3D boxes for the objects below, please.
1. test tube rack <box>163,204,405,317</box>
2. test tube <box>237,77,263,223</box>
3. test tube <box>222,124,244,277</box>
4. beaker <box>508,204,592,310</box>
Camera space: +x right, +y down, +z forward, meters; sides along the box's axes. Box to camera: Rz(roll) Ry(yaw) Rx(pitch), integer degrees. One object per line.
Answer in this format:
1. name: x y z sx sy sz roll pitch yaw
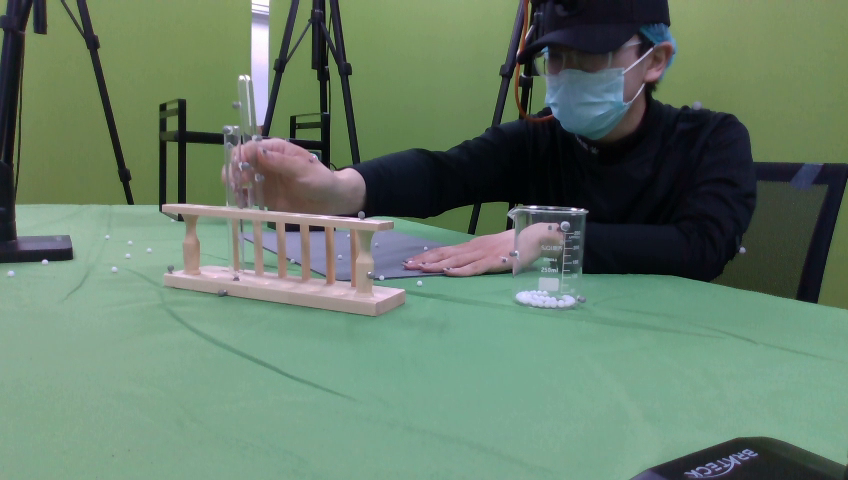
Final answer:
1. test tube rack: -0.141 0.013 0.600 0.241 0.085 0.067 5 8 21
2. test tube: -0.179 -0.093 0.625 0.017 0.150 0.017 -4 2 0
3. test tube: -0.186 -0.037 0.591 0.017 0.150 0.017 1 11 0
4. beaker: 0.125 0.016 0.613 0.084 0.100 0.074 1 7 -5
